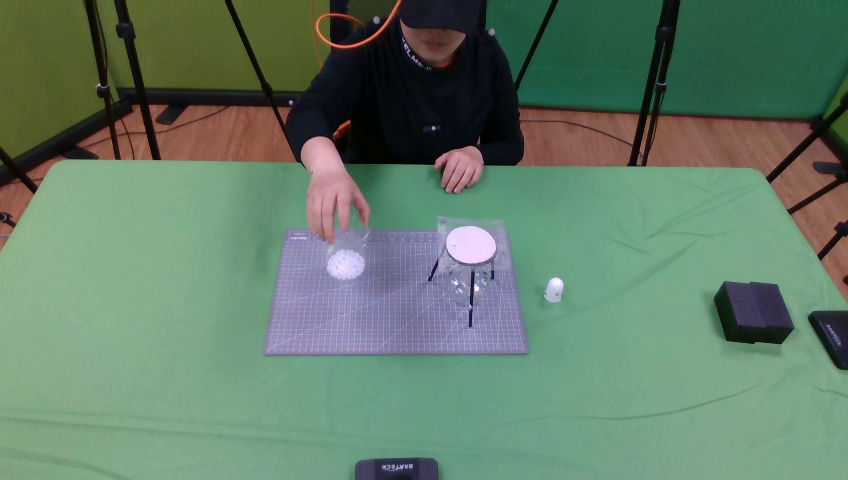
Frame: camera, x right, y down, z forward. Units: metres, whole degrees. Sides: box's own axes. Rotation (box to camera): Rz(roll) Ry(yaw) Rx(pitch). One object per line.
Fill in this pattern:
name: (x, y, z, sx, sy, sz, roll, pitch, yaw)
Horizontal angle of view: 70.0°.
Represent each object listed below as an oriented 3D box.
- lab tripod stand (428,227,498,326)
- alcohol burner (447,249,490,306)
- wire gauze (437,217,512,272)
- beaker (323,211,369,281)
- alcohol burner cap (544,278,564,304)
lab tripod stand: (0.079, 0.056, 1.070, 0.148, 0.132, 0.147, 3, 47, -3)
alcohol burner: (0.080, 0.062, 1.078, 0.078, 0.120, 0.077, 1, 45, -1)
wire gauze: (0.083, 0.006, 1.025, 0.121, 0.011, 0.124, 2, 47, -4)
beaker: (-0.130, 0.011, 1.014, 0.074, 0.101, 0.083, 14, 44, 5)
alcohol burner cap: (0.241, 0.090, 1.117, 0.034, 0.048, 0.033, 2, 45, -1)
